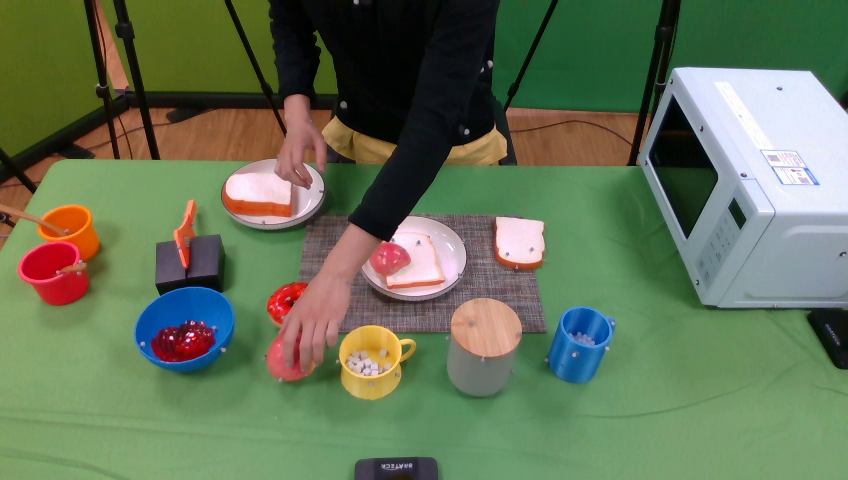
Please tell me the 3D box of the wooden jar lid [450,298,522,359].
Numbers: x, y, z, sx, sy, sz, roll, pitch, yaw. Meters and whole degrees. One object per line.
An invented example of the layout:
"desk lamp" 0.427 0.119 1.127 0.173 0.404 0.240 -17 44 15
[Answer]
"wooden jar lid" 0.093 0.135 0.914 0.108 0.021 0.107 3 48 -3

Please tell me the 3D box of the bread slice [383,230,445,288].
"bread slice" -0.028 0.035 1.144 0.107 0.018 0.133 -7 48 -12

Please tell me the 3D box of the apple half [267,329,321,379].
"apple half" -0.207 0.173 0.955 0.074 0.053 0.080 9 41 19

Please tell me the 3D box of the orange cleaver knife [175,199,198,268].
"orange cleaver knife" -0.438 -0.017 1.138 0.012 0.077 0.210 -13 27 -7

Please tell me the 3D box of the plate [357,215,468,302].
"plate" -0.022 0.037 1.141 0.208 0.039 0.206 2 46 -2

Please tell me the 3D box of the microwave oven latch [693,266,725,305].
"microwave oven latch" 0.523 0.082 1.115 0.030 0.029 0.078 3 46 0

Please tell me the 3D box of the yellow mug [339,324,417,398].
"yellow mug" -0.072 0.190 0.978 0.131 0.064 0.099 -17 51 -20

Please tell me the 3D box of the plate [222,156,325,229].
"plate" -0.308 -0.095 1.251 0.209 0.038 0.208 2 47 -2

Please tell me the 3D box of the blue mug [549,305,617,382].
"blue mug" 0.269 0.166 0.998 0.116 0.106 0.082 -19 51 -21

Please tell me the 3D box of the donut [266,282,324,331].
"donut" -0.222 0.115 1.049 0.099 0.048 0.098 2 45 -2

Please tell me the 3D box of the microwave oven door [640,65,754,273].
"microwave oven door" 0.523 -0.148 1.193 0.039 0.245 0.353 0 47 -3

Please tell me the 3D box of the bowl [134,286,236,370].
"bowl" -0.377 0.155 0.981 0.151 0.077 0.150 2 46 -2

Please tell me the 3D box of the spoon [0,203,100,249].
"spoon" -0.683 -0.031 1.088 0.195 0.021 0.041 33 33 -38

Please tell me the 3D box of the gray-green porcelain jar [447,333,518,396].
"gray-green porcelain jar" 0.091 0.178 0.960 0.106 0.127 0.105 2 46 -2

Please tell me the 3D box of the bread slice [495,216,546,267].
"bread slice" 0.194 0.002 1.205 0.105 0.019 0.131 5 45 2

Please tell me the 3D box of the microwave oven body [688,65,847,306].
"microwave oven body" 0.669 -0.111 1.176 0.326 0.261 0.439 0 46 -3

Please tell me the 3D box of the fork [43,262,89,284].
"fork" -0.599 0.053 1.013 0.207 0.019 0.028 -14 30 45

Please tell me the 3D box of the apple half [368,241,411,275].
"apple half" -0.067 0.024 1.121 0.081 0.033 0.081 1 47 -1
